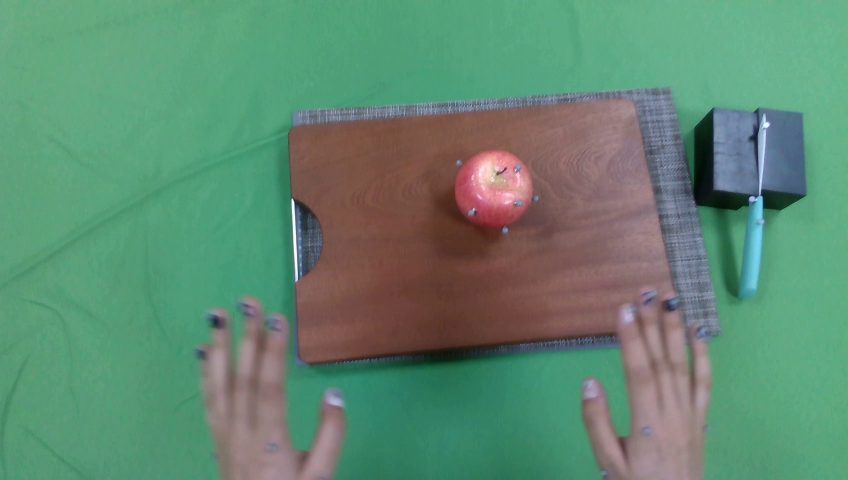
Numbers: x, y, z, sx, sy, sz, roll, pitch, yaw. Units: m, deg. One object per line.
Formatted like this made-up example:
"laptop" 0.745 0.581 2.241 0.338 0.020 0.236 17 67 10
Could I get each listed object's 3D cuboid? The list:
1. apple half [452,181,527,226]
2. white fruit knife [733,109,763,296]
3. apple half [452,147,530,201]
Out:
"apple half" 0.066 -0.030 0.625 0.081 0.082 0.032 8 70 1
"white fruit knife" 0.357 -0.041 0.663 0.016 0.027 0.207 6 89 -1
"apple half" 0.072 -0.067 0.637 0.081 0.075 0.053 7 71 5
